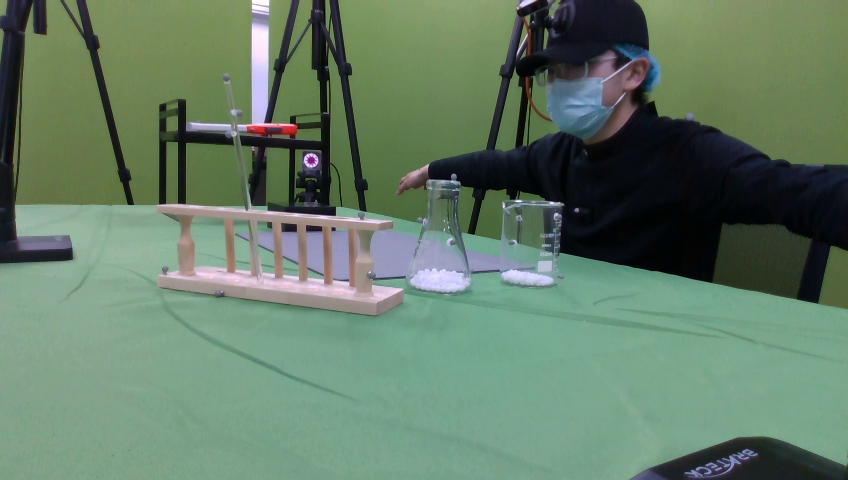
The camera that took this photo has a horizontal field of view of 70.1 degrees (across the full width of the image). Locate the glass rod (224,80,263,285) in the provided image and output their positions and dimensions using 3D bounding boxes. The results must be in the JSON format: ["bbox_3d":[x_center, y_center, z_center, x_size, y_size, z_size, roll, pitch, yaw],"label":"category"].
[{"bbox_3d":[-0.173,-0.052,0.582,0.008,0.199,0.008,-7,8,1],"label":"glass rod"}]

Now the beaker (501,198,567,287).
[{"bbox_3d":[0.127,0.002,0.718,0.084,0.100,0.073,-4,9,-35],"label":"beaker"}]

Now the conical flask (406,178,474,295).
[{"bbox_3d":[0.019,-0.006,0.655,0.075,0.122,0.075,2,7,0],"label":"conical flask"}]

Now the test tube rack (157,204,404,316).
[{"bbox_3d":[-0.143,0.013,0.599,0.242,0.085,0.067,5,8,19],"label":"test tube rack"}]

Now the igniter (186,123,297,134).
[{"bbox_3d":[-0.392,-0.248,1.341,0.057,0.025,0.278,9,14,38],"label":"igniter"}]
